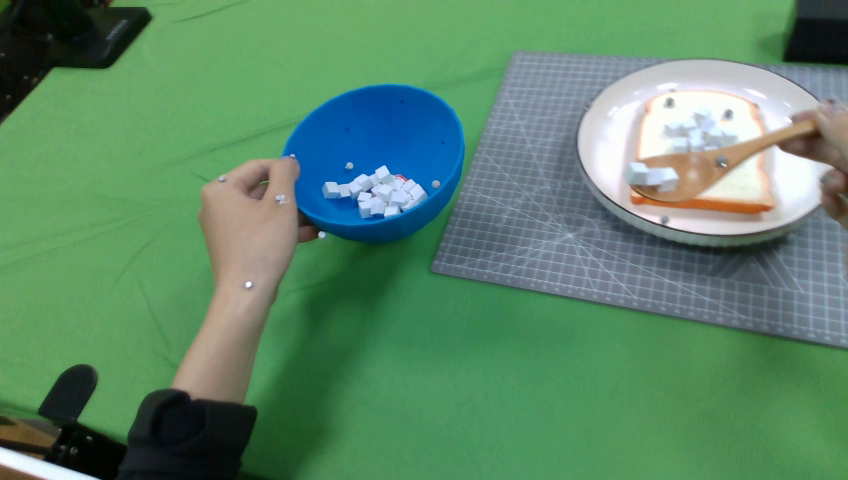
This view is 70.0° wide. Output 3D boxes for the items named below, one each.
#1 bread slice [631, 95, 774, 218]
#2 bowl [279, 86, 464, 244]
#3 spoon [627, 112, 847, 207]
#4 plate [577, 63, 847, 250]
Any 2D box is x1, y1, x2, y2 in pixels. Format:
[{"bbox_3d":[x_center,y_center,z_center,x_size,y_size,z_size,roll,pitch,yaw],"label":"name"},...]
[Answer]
[{"bbox_3d":[0.237,-0.075,0.527,0.106,0.018,0.133,3,56,16],"label":"bread slice"},{"bbox_3d":[-0.037,-0.049,0.511,0.151,0.077,0.150,-5,55,8],"label":"bowl"},{"bbox_3d":[0.223,-0.059,0.374,0.193,0.022,0.041,-19,46,9],"label":"spoon"},{"bbox_3d":[0.238,-0.072,0.521,0.209,0.038,0.207,-6,52,9],"label":"plate"}]
